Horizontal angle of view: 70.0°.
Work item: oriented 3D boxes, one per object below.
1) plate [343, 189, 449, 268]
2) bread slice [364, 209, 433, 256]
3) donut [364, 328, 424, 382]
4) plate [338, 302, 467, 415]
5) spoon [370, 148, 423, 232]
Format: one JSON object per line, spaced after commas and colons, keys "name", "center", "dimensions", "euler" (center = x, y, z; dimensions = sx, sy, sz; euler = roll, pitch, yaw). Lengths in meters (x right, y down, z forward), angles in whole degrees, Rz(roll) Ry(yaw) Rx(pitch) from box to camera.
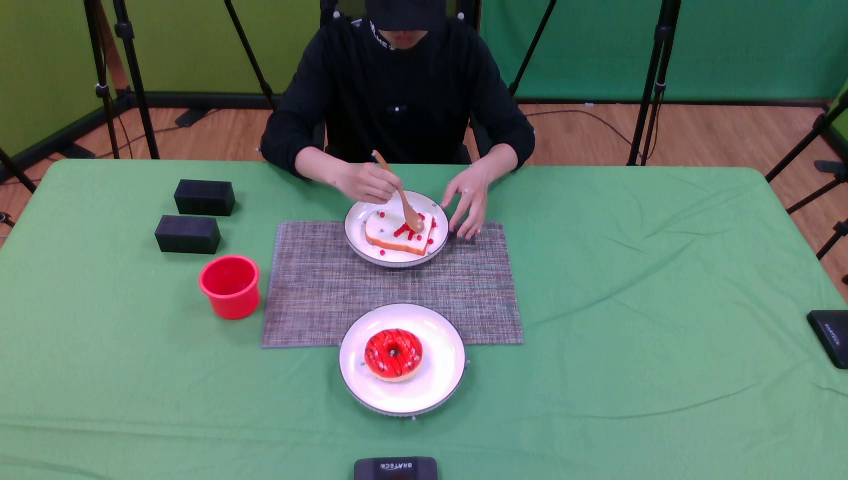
{"name": "plate", "center": [-0.055, -0.020, 1.195], "dimensions": [0.209, 0.038, 0.208], "euler": [3, 45, -3]}
{"name": "bread slice", "center": [-0.054, -0.019, 1.200], "dimensions": [0.131, 0.019, 0.104], "euler": [11, 46, 2]}
{"name": "donut", "center": [-0.049, 0.185, 0.984], "dimensions": [0.099, 0.048, 0.098], "euler": [1, 45, -1]}
{"name": "plate", "center": [-0.035, 0.194, 0.992], "dimensions": [0.208, 0.039, 0.206], "euler": [2, 48, -2]}
{"name": "spoon", "center": [-0.050, -0.092, 1.134], "dimensions": [0.021, 0.195, 0.041], "euler": [-4, 39, 32]}
